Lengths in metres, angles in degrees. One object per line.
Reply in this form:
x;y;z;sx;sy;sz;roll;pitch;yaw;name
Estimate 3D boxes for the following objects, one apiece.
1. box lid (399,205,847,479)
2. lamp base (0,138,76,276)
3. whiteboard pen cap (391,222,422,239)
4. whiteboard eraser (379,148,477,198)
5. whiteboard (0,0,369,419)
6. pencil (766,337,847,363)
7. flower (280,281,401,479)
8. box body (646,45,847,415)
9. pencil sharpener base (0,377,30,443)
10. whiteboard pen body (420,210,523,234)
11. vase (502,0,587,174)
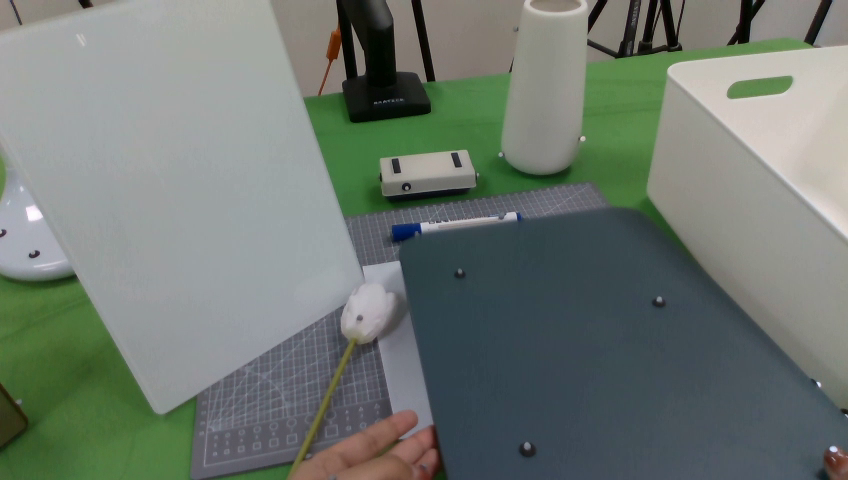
0.126;0.076;0.484;0.263;0.015;0.367;-9;31;-5;box lid
-0.412;-0.078;0.633;0.178;0.182;0.160;18;44;25;lamp base
-0.019;-0.011;0.662;0.033;0.018;0.018;-4;40;-7;whiteboard pen cap
0.003;-0.079;0.727;0.113;0.042;0.055;-8;38;-6;whiteboard eraser
-0.212;-0.047;0.536;0.217;0.308;0.142;-30;29;-28;whiteboard
0.393;0.107;0.510;0.193;0.012;0.012;11;42;13;pencil
-0.097;0.167;0.459;0.044;0.038;0.359;16;47;11;flower
0.398;-0.025;0.556;0.254;0.162;0.360;-8;41;-7;box body
-0.371;0.113;0.462;0.076;0.108;0.061;21;46;25;pencil sharpener base
0.040;-0.018;0.669;0.141;0.017;0.017;-7;40;-5;whiteboard pen body
0.146;-0.178;0.717;0.098;0.202;0.097;0;40;1;vase
